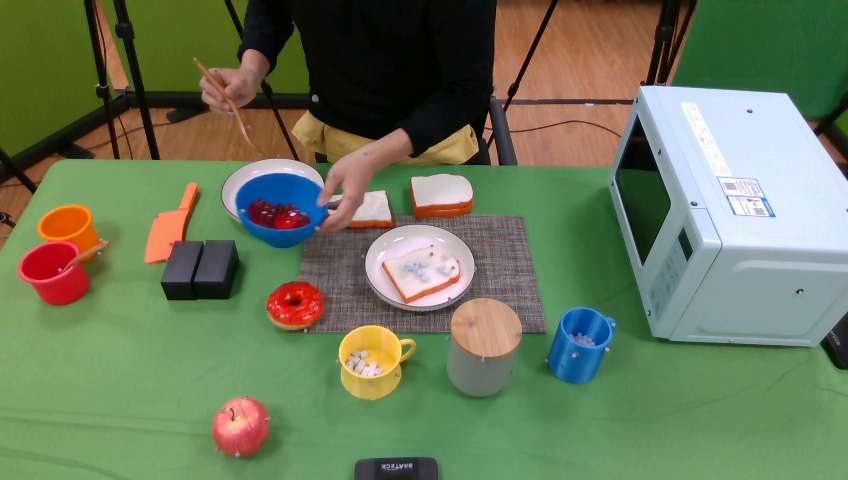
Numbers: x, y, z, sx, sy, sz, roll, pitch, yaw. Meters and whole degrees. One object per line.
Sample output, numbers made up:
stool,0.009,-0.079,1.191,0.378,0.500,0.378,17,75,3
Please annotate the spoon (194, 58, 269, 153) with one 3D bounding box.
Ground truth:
spoon,-0.330,-0.229,1.044,0.021,0.194,0.041,-28,17,7

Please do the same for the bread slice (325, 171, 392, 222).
bread slice,-0.138,-0.087,1.230,0.134,0.018,0.106,-14,50,0

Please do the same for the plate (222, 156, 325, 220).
plate,-0.308,-0.094,1.251,0.209,0.038,0.208,3,47,-3

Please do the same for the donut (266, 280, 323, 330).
donut,-0.223,0.113,1.051,0.099,0.048,0.098,2,45,-2

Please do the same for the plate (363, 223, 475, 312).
plate,-0.009,0.054,1.126,0.208,0.039,0.206,2,46,-2

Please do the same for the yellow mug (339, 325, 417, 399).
yellow mug,-0.072,0.191,0.978,0.131,0.064,0.099,-17,49,-20

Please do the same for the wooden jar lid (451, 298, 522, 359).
wooden jar lid,0.093,0.135,0.914,0.108,0.021,0.107,2,48,-3

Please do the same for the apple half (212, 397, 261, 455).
apple half,-0.276,0.276,0.877,0.053,0.075,0.080,-29,58,-21

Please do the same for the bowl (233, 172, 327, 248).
bowl,-0.240,-0.039,1.022,0.151,0.077,0.150,7,43,-6

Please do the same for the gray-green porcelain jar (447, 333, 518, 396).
gray-green porcelain jar,0.091,0.178,0.960,0.106,0.127,0.105,2,46,-2

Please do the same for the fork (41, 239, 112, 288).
fork,-0.591,0.040,1.028,0.207,0.019,0.028,-27,37,29

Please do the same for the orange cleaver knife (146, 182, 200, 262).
orange cleaver knife,-0.494,-0.039,1.198,0.077,0.012,0.210,-4,48,2

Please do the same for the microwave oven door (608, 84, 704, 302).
microwave oven door,0.424,-0.096,1.137,0.039,0.245,0.353,3,46,-1

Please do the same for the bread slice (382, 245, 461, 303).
bread slice,0.000,0.054,1.129,0.131,0.019,0.104,-20,51,-20

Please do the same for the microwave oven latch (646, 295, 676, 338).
microwave oven latch,0.413,0.133,1.061,0.030,0.029,0.078,4,46,1

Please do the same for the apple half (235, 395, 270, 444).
apple half,-0.245,0.260,0.893,0.033,0.082,0.081,-29,55,-22

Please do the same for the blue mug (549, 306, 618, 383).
blue mug,0.269,0.167,0.997,0.116,0.106,0.082,-19,51,-21

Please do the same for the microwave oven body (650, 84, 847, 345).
microwave oven body,0.569,-0.054,1.116,0.326,0.261,0.439,2,46,-1
